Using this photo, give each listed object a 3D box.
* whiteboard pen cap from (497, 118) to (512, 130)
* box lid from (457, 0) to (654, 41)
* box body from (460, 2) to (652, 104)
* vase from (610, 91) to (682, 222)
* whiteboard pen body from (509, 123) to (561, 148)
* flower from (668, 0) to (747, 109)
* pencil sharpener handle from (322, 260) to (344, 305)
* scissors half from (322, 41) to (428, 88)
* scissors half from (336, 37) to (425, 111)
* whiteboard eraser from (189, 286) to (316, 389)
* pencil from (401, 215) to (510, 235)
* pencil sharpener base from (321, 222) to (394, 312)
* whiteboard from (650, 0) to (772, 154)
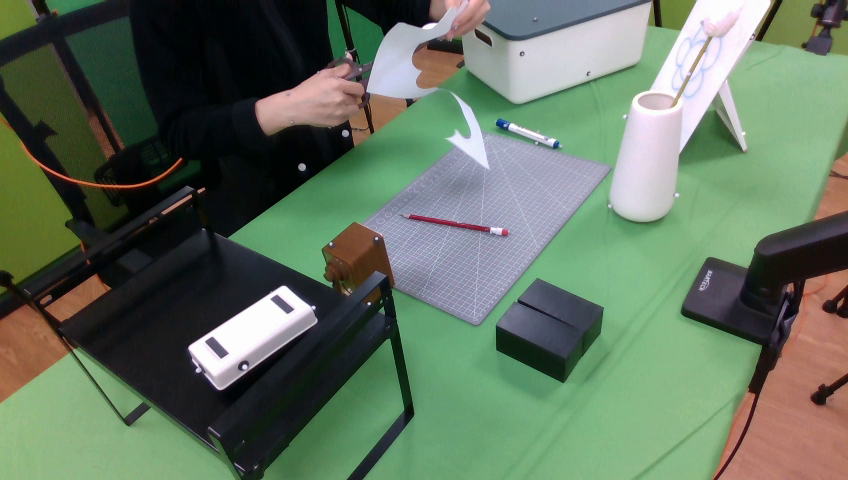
[{"bbox_3d":[0.165,-0.235,1.227,0.033,0.018,0.018,31,53,31],"label":"whiteboard pen cap"},{"bbox_3d":[0.285,-0.522,1.323,0.373,0.015,0.261,-22,43,-16],"label":"box lid"},{"bbox_3d":[0.291,-0.465,1.371,0.365,0.161,0.252,-22,42,-16],"label":"box body"},{"bbox_3d":[0.348,-0.125,0.935,0.098,0.201,0.097,-3,40,3],"label":"vase"},{"bbox_3d":[0.209,-0.211,1.195,0.139,0.017,0.017,30,52,33],"label":"whiteboard pen body"},{"bbox_3d":[0.354,-0.187,0.879,0.038,0.362,0.044,30,48,14],"label":"flower"},{"bbox_3d":[-0.131,0.061,0.839,0.035,0.068,0.031,29,56,27],"label":"pencil sharpener handle"},{"bbox_3d":[-0.076,-0.267,0.906,0.174,0.040,0.013,-12,28,16],"label":"scissors half"},{"bbox_3d":[-0.065,-0.250,0.913,0.174,0.040,0.013,-35,15,25],"label":"scissors half"},{"bbox_3d":[-0.166,0.096,0.593,0.113,0.042,0.055,-36,47,-29],"label":"whiteboard eraser"},{"bbox_3d":[0.049,-0.027,1.007,0.193,0.012,0.012,10,43,21],"label":"pencil"},{"bbox_3d":[-0.096,0.041,0.873,0.061,0.107,0.077,26,54,32],"label":"pencil sharpener base"},{"bbox_3d":[0.543,-0.298,1.076,0.144,0.305,0.216,12,40,-7],"label":"whiteboard"}]
